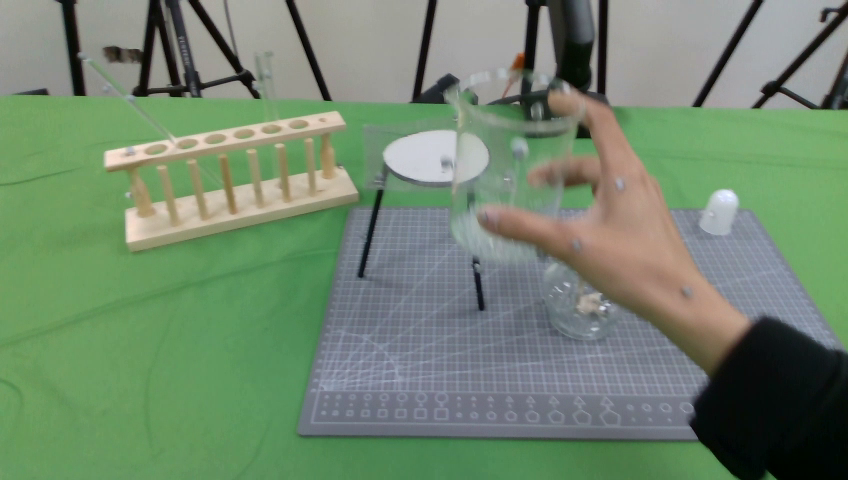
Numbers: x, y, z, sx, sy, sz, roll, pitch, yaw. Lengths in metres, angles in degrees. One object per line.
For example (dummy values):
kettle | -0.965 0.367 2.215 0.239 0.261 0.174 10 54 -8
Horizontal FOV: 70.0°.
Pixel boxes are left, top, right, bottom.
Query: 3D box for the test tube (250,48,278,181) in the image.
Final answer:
test tube | -0.168 -0.130 0.652 0.017 0.151 0.017 1 36 0

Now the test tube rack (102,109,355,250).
test tube rack | -0.203 -0.069 0.655 0.243 0.086 0.066 -14 40 -18

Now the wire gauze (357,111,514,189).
wire gauze | 0.005 -0.077 0.511 0.125 0.011 0.120 -3 38 -3

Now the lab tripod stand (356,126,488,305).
lab tripod stand | 0.006 -0.024 0.553 0.148 0.132 0.147 -1 40 1

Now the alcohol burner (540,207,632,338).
alcohol burner | 0.138 0.024 0.508 0.078 0.120 0.077 0 37 1

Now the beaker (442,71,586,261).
beaker | 0.049 -0.044 0.379 0.084 0.101 0.073 10 38 7

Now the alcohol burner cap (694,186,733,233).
alcohol burner cap | 0.307 -0.035 0.639 0.034 0.048 0.033 0 38 0

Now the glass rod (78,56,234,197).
glass rod | -0.262 -0.106 0.611 0.008 0.202 0.008 -19 45 21
